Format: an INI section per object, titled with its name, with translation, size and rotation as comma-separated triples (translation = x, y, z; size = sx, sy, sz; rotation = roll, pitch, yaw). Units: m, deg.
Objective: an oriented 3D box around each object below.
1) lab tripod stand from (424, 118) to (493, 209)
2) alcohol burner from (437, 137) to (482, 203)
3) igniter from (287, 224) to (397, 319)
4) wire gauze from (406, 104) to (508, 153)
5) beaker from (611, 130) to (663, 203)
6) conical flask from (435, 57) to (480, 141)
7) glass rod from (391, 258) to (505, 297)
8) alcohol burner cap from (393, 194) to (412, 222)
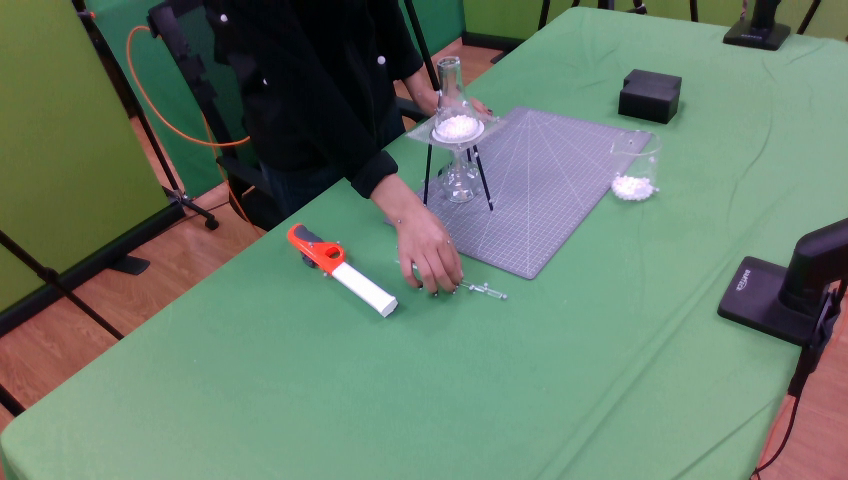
[lab tripod stand]
translation = 0.061, -0.133, 1.039
size = 0.148, 0.132, 0.147
rotation = -6, 39, 6
[alcohol burner]
translation = 0.060, -0.125, 1.045
size = 0.078, 0.119, 0.077
rotation = -5, 38, 4
[igniter]
translation = -0.139, 0.042, 0.958
size = 0.057, 0.025, 0.274
rotation = -41, 49, -19
[wire gauze]
translation = 0.054, -0.183, 0.997
size = 0.120, 0.011, 0.125
rotation = 26, 53, 38
[beaker]
translation = 0.346, -0.118, 0.998
size = 0.084, 0.101, 0.073
rotation = -17, 40, -7
[conical flask]
translation = 0.046, -0.224, 0.954
size = 0.075, 0.122, 0.075
rotation = -7, 39, 6
[glass rod]
translation = 0.032, 0.055, 0.922
size = 0.198, 0.008, 0.008
rotation = 17, 47, 28
[alcohol burner cap]
translation = -0.039, -0.057, 1.039
size = 0.034, 0.048, 0.033
rotation = -5, 39, 5
